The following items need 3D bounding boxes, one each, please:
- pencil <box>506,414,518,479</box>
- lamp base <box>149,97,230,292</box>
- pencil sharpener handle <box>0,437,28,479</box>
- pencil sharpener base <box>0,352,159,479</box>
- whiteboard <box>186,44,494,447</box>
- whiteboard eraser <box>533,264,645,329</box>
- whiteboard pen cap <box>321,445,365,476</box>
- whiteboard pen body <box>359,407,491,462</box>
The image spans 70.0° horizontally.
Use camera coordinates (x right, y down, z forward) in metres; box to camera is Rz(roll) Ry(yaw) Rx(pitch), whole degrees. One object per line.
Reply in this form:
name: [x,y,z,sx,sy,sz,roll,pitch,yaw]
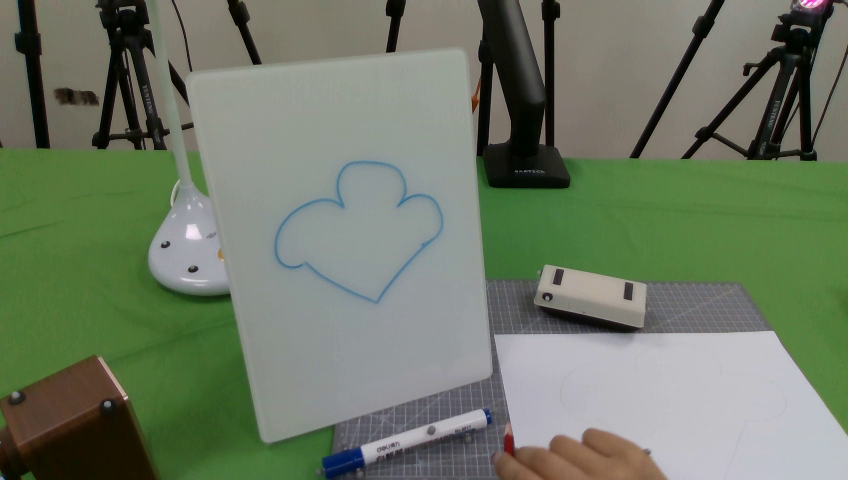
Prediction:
pencil: [0.056,0.191,0.385,0.012,0.012,0.192,5,37,4]
lamp base: [-0.247,-0.059,0.679,0.177,0.182,0.160,25,41,33]
pencil sharpener handle: [-0.286,0.160,0.405,0.031,0.068,0.035,-28,32,-34]
pencil sharpener base: [-0.252,0.150,0.443,0.077,0.108,0.061,-27,45,-34]
whiteboard: [-0.072,-0.008,0.558,0.218,0.307,0.142,-12,18,-17]
whiteboard eraser: [0.177,0.061,0.648,0.112,0.042,0.055,12,37,14]
whiteboard pen cap: [-0.064,0.176,0.485,0.033,0.018,0.018,-13,37,-18]
whiteboard pen body: [-0.009,0.164,0.504,0.141,0.017,0.017,-12,37,-17]
